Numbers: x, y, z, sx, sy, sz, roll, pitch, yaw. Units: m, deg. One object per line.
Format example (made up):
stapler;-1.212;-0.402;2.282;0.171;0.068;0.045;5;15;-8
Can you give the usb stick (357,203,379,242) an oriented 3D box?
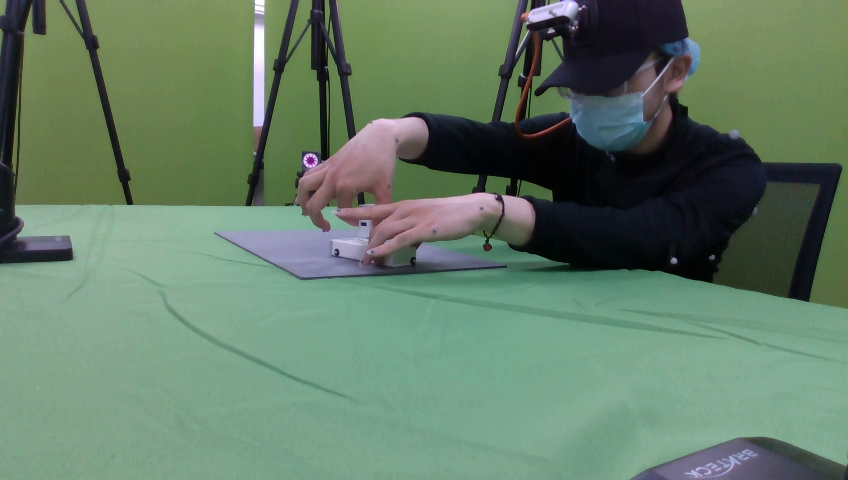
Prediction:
usb stick;-0.077;-0.021;0.836;0.021;0.059;0.027;8;13;36

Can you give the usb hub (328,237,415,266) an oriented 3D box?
usb hub;-0.074;0.015;0.835;0.124;0.025;0.050;7;8;39
